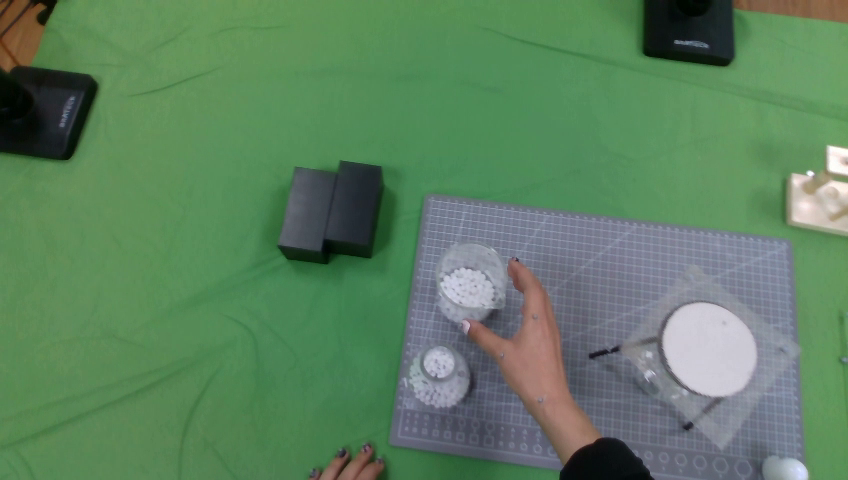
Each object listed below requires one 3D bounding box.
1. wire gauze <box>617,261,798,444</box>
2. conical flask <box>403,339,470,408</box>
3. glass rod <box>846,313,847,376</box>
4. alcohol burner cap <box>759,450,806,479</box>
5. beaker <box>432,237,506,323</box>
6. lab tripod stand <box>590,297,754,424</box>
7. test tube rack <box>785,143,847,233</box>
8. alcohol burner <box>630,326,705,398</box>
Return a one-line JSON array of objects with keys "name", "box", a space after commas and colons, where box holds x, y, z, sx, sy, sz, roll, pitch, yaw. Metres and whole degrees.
[{"name": "wire gauze", "box": [0.261, 0.099, 0.560, 0.121, 0.011, 0.124, -43, 77, -12]}, {"name": "conical flask", "box": [0.014, 0.131, 0.624, 0.075, 0.122, 0.075, 0, 71, 0]}, {"name": "glass rod", "box": [0.478, 0.179, 0.676, 0.008, 0.008, 0.198, 9, 74, 2]}, {"name": "alcohol burner cap", "box": [0.379, 0.237, 0.634, 0.034, 0.048, 0.033, 0, 70, -1]}, {"name": "beaker", "box": [0.049, 0.050, 0.664, 0.083, 0.101, 0.074, 43, 76, 12]}, {"name": "lab tripod stand", "box": [0.259, 0.118, 0.625, 0.148, 0.132, 0.147, 0, 73, 1]}, {"name": "test tube rack", "box": [0.571, -0.044, 0.711, 0.242, 0.085, 0.066, 11, 71, 3]}, {"name": "alcohol burner", "box": [0.261, 0.125, 0.633, 0.078, 0.120, 0.077, 0, 72, 2]}]
